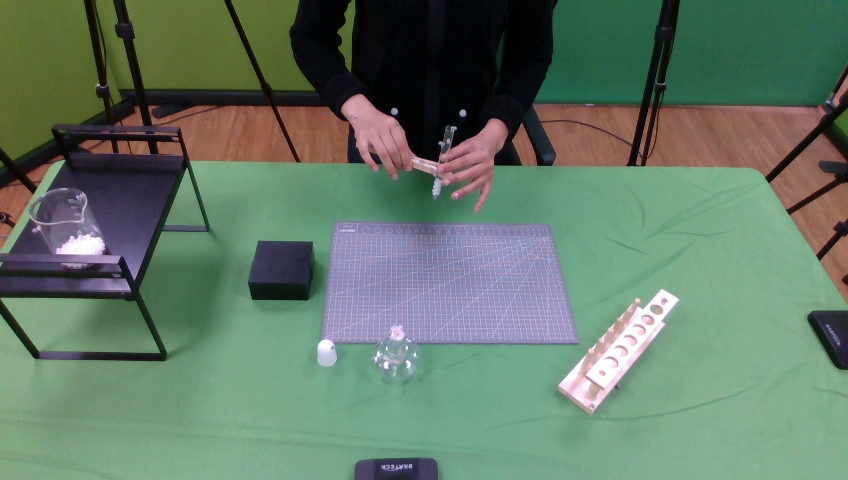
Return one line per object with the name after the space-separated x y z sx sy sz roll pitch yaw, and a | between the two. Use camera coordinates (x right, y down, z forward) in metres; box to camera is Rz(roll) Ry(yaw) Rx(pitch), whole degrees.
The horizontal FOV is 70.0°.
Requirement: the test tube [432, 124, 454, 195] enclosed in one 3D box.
0.031 -0.135 1.048 0.017 0.151 0.017 6 45 -6 | test tube

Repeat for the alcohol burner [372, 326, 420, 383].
-0.044 0.175 0.961 0.078 0.120 0.077 1 47 -1 | alcohol burner

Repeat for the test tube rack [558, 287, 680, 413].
0.326 0.170 1.009 0.066 0.085 0.242 36 54 27 | test tube rack

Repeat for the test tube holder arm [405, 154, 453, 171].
0.008 -0.134 1.062 0.088 0.015 0.010 13 44 -1 | test tube holder arm

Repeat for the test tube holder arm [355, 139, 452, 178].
-0.036 -0.143 1.060 0.178 0.015 0.013 18 44 4 | test tube holder arm

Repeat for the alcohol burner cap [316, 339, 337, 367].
-0.161 0.182 0.995 0.034 0.048 0.033 2 47 -2 | alcohol burner cap

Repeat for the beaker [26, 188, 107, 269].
-0.504 -0.013 0.868 0.084 0.101 0.074 23 49 17 | beaker
